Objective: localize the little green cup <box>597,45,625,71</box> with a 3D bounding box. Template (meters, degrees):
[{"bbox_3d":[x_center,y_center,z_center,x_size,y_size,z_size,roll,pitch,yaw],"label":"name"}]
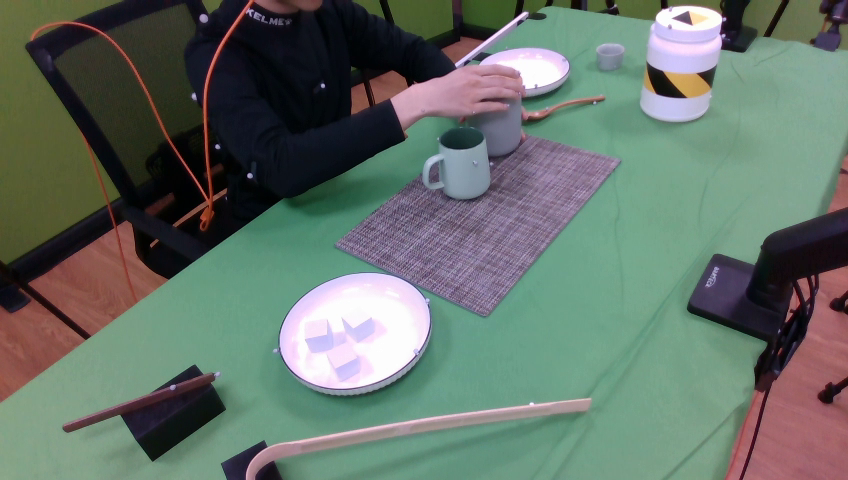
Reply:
[{"bbox_3d":[0.423,-0.413,1.376,0.061,0.039,0.061,-3,41,3],"label":"little green cup"}]

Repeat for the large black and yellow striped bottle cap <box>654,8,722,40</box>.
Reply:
[{"bbox_3d":[0.483,-0.397,1.108,0.115,0.019,0.114,-3,41,3],"label":"large black and yellow striped bottle cap"}]

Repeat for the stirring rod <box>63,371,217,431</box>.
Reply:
[{"bbox_3d":[-0.337,0.192,0.723,0.177,0.014,0.005,-18,43,-12],"label":"stirring rod"}]

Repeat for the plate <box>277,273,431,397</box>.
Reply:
[{"bbox_3d":[-0.091,0.129,0.821,0.207,0.039,0.206,-4,40,4],"label":"plate"}]

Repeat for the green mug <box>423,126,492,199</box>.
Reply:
[{"bbox_3d":[0.055,-0.126,1.040,0.126,0.105,0.091,-25,44,-18],"label":"green mug"}]

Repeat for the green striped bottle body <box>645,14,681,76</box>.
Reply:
[{"bbox_3d":[0.520,-0.424,1.312,0.063,0.120,0.063,-4,40,4],"label":"green striped bottle body"}]

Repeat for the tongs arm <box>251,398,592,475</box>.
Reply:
[{"bbox_3d":[0.008,0.213,0.675,0.389,0.028,0.028,-5,46,-11],"label":"tongs arm"}]

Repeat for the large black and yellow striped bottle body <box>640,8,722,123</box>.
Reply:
[{"bbox_3d":[0.493,-0.334,1.161,0.131,0.185,0.130,-4,41,4],"label":"large black and yellow striped bottle body"}]

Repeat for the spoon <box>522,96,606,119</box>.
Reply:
[{"bbox_3d":[0.291,-0.277,1.249,0.194,0.022,0.041,-17,24,-11],"label":"spoon"}]

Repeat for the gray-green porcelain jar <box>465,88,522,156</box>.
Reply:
[{"bbox_3d":[0.131,-0.230,1.132,0.106,0.127,0.105,-4,41,4],"label":"gray-green porcelain jar"}]

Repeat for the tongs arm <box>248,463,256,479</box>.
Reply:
[{"bbox_3d":[0.012,0.262,0.615,0.385,0.026,0.050,2,41,-2],"label":"tongs arm"}]

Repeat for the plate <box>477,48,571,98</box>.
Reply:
[{"bbox_3d":[0.223,-0.371,1.357,0.209,0.038,0.208,-4,41,4],"label":"plate"}]

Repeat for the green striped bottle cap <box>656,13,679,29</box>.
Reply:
[{"bbox_3d":[0.515,-0.463,1.278,0.044,0.020,0.044,-6,42,6],"label":"green striped bottle cap"}]

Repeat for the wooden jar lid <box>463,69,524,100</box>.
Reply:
[{"bbox_3d":[0.125,-0.277,1.089,0.108,0.021,0.108,-4,37,4],"label":"wooden jar lid"}]
